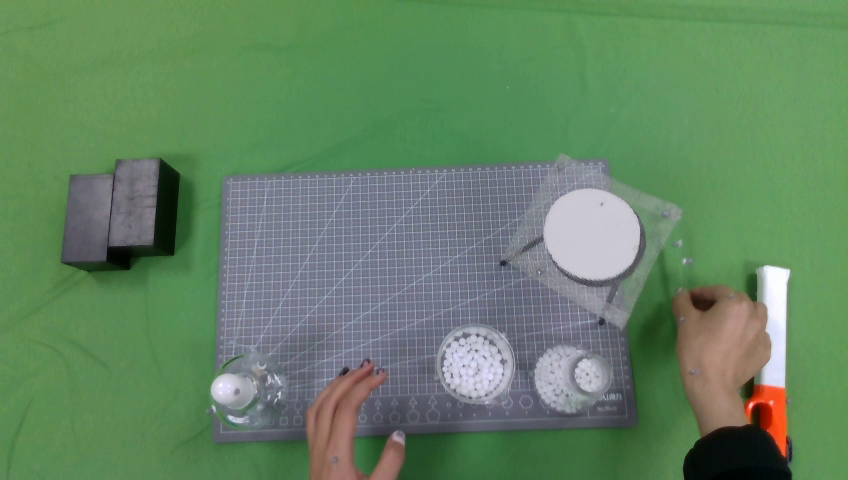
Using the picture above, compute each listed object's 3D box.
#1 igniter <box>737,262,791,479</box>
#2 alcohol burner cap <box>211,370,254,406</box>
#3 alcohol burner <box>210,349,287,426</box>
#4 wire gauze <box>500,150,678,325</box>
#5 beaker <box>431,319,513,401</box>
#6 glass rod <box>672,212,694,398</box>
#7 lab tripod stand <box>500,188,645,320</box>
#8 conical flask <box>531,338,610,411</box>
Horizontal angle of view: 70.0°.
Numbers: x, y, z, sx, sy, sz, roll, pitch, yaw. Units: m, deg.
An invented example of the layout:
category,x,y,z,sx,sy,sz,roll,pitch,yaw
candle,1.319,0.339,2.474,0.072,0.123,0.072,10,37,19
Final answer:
category,x,y,z,sx,sy,sz,roll,pitch,yaw
igniter,0.355,0.159,0.632,0.057,0.025,0.275,11,77,-7
alcohol burner cap,-0.182,0.137,0.568,0.034,0.048,0.033,0,70,-1
alcohol burner,-0.180,0.147,0.603,0.078,0.119,0.077,-1,78,3
wire gauze,0.149,-0.006,0.549,0.125,0.011,0.121,29,82,8
beaker,0.050,0.124,0.609,0.074,0.100,0.083,-38,79,-6
glass rod,0.277,0.068,0.647,0.008,0.008,0.199,-3,85,1
lab tripod stand,0.154,0.011,0.613,0.148,0.132,0.147,-1,78,3
conical flask,0.149,0.130,0.592,0.075,0.122,0.075,0,77,2
